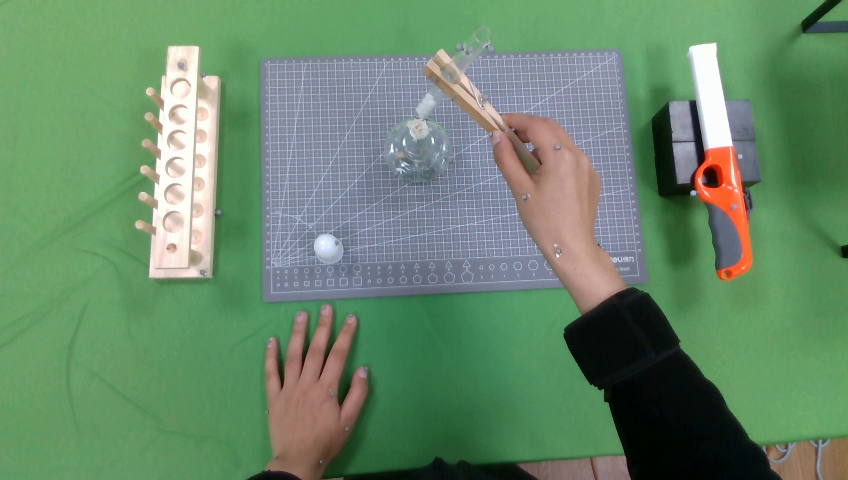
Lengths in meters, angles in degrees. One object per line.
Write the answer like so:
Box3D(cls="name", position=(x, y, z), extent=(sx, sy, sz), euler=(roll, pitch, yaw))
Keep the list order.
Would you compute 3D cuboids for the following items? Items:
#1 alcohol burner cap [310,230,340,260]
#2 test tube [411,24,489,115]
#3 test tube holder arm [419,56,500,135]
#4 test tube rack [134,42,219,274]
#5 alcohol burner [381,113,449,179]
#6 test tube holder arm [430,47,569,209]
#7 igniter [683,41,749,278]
Box3D(cls="alcohol burner cap", position=(-0.113, 0.004, 0.684), extent=(0.034, 0.048, 0.033), euler=(1, 80, -4))
Box3D(cls="test tube", position=(0.018, -0.143, 0.528), extent=(0.017, 0.150, 0.017), euler=(4, 77, -19))
Box3D(cls="test tube holder arm", position=(0.032, -0.125, 0.527), extent=(0.088, 0.015, 0.010), euler=(39, 70, -9))
Box3D(cls="test tube rack", position=(-0.277, -0.087, 0.672), extent=(0.067, 0.085, 0.241), euler=(0, 80, -3))
Box3D(cls="alcohol burner", position=(-0.009, -0.110, 0.674), extent=(0.078, 0.119, 0.077), euler=(0, 81, -2))
Box3D(cls="test tube holder arm", position=(0.068, -0.097, 0.535), extent=(0.179, 0.015, 0.013), euler=(47, 70, -7))
Box3D(cls="igniter", position=(0.331, -0.094, 0.690), extent=(0.057, 0.025, 0.275), euler=(-5, 80, 8))
